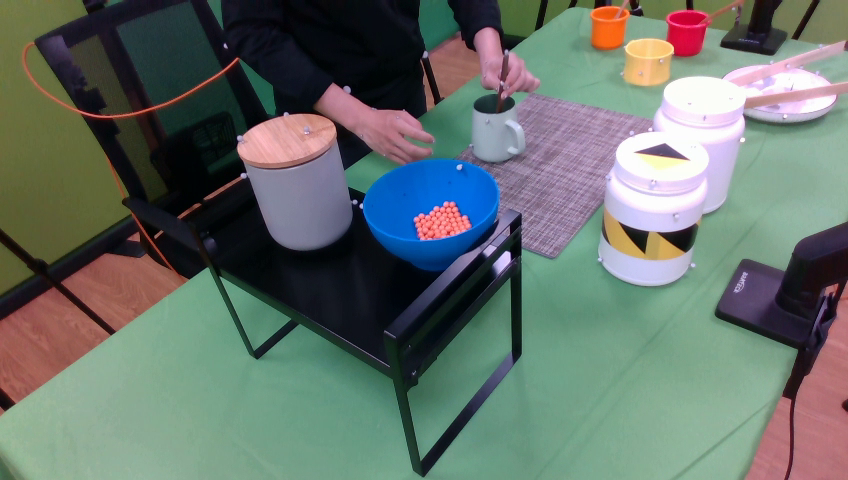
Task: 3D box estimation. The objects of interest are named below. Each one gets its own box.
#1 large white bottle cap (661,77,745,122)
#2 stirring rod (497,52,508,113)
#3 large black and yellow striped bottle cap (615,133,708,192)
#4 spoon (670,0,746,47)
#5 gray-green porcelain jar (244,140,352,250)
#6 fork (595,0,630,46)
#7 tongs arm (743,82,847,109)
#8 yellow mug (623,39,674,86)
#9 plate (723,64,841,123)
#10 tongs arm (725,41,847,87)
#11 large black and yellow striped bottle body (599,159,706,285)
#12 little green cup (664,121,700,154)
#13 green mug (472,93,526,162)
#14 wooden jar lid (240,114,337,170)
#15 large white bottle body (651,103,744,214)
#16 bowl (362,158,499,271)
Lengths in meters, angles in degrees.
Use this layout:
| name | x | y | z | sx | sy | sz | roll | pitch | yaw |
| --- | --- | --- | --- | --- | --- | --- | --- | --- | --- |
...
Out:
| name | x | y | z | sx | sy | sz | roll | pitch | yaw |
| --- | --- | --- | --- | --- | --- | --- | --- | --- | --- |
| large white bottle cap | 0.415 | -0.210 | 0.904 | 0.115 | 0.018 | 0.114 | -4 | 40 | 4 |
| stirring rod | 0.136 | -0.245 | 1.065 | 0.006 | 0.177 | 0.014 | 23 | 45 | 24 |
| large black and yellow striped bottle cap | 0.312 | -0.105 | 0.799 | 0.115 | 0.019 | 0.114 | -5 | 41 | 5 |
| spoon | 0.629 | -0.485 | 1.350 | 0.022 | 0.193 | 0.042 | 48 | 54 | -7 |
| gray-green porcelain jar | -0.144 | -0.060 | 0.714 | 0.106 | 0.127 | 0.105 | -4 | 41 | 4 |
| fork | 0.480 | -0.556 | 1.452 | 0.028 | 0.019 | 0.207 | 42 | 104 | 40 |
| tongs arm | 0.738 | -0.282 | 1.134 | 0.388 | 0.028 | 0.028 | -9 | 46 | -5 |
| yellow mug | 0.484 | -0.398 | 1.334 | 0.100 | 0.064 | 0.130 | -18 | 41 | -11 |
| plate | 0.695 | -0.282 | 1.189 | 0.207 | 0.039 | 0.206 | -4 | 40 | 4 |
| tongs arm | 0.712 | -0.332 | 1.194 | 0.386 | 0.026 | 0.050 | -18 | 44 | -16 |
| large black and yellow striped bottle body | 0.320 | -0.042 | 0.854 | 0.131 | 0.185 | 0.130 | -4 | 41 | 4 |
| little green cup | 0.473 | -0.188 | 1.113 | 0.061 | 0.039 | 0.061 | -5 | 40 | 5 |
| green mug | 0.144 | -0.202 | 1.122 | 0.093 | 0.105 | 0.124 | -29 | 44 | -23 |
| wooden jar lid | -0.149 | -0.106 | 0.673 | 0.108 | 0.021 | 0.108 | -6 | 39 | 5 |
| large white bottle body | 0.426 | -0.146 | 0.958 | 0.130 | 0.185 | 0.130 | -4 | 40 | 4 |
| bowl | 0.011 | -0.019 | 0.679 | 0.151 | 0.077 | 0.150 | -5 | 41 | 5 |
